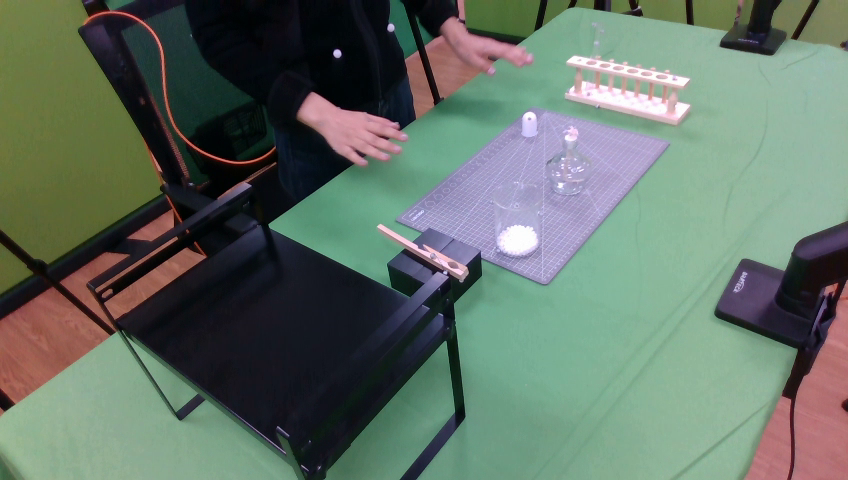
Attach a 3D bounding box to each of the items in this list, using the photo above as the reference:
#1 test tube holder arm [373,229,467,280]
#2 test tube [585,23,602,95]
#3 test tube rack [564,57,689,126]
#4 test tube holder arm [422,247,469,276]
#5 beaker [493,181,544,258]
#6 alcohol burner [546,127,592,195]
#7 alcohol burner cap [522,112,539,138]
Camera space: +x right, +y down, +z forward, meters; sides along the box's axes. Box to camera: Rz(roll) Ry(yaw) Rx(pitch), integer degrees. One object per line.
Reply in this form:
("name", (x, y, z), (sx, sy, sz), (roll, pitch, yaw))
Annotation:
("test tube holder arm", (-0.010, 0.019, 0.885), (0.177, 0.015, 0.013), (23, 47, 33))
("test tube", (0.342, -0.364, 1.226), (0.017, 0.151, 0.017), (-2, 42, 2))
("test tube rack", (0.411, -0.311, 1.230), (0.240, 0.085, 0.067), (23, 49, 32))
("test tube holder arm", (0.028, 0.031, 0.864), (0.087, 0.015, 0.010), (25, 48, 34))
("beaker", (0.145, -0.031, 0.925), (0.074, 0.101, 0.084), (6, 41, 16))
("alcohol burner", (0.246, -0.137, 1.024), (0.078, 0.119, 0.077), (-4, 38, 4))
("alcohol burner cap", (0.210, -0.230, 1.195), (0.034, 0.048, 0.033), (-5, 41, 5))
